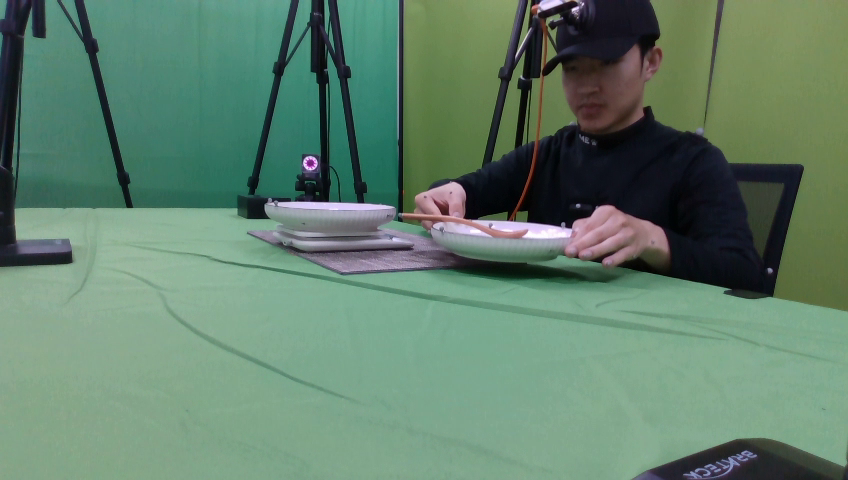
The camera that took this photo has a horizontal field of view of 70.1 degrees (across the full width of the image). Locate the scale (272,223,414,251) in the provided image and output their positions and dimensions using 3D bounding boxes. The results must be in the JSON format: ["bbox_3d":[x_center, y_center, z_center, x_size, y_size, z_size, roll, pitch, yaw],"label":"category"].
[{"bbox_3d":[-0.131,-0.008,0.983,0.202,0.031,0.148,-2,8,-32],"label":"scale"}]

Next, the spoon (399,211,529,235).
[{"bbox_3d":[0.056,-0.028,0.885,0.193,0.021,0.042,12,10,13],"label":"spoon"}]

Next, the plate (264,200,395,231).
[{"bbox_3d":[-0.150,-0.040,0.971,0.208,0.039,0.207,2,7,0],"label":"plate"}]

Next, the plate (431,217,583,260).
[{"bbox_3d":[0.113,-0.002,0.840,0.209,0.038,0.209,2,8,0],"label":"plate"}]
